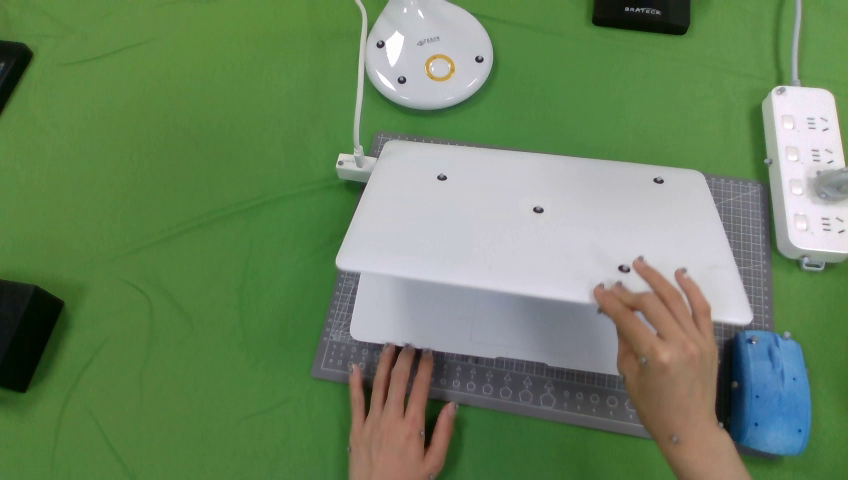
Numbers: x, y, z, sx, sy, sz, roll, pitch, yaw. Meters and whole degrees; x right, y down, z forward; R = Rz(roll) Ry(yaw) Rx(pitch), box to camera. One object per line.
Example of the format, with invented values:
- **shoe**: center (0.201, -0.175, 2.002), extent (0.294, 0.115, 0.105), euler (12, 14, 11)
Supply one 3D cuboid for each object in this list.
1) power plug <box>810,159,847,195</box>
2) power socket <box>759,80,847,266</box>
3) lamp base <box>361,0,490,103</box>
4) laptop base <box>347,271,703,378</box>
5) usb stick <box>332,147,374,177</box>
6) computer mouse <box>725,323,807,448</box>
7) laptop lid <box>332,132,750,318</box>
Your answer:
- **power plug**: center (0.441, -0.059, 0.630), extent (0.072, 0.053, 0.035), euler (17, 67, 7)
- **power socket**: center (0.417, -0.082, 0.666), extent (0.072, 0.033, 0.225), euler (7, 67, 3)
- **lamp base**: center (-0.008, -0.278, 0.687), extent (0.161, 0.181, 0.177), euler (-28, 65, -10)
- **laptop base**: center (0.111, 0.011, 0.645), extent (0.354, 0.023, 0.234), euler (6, 70, 5)
- **usb stick**: center (-0.071, -0.086, 0.678), extent (0.059, 0.027, 0.021), euler (9, 62, 4)
- **computer mouse**: center (0.321, 0.134, 0.570), extent (0.062, 0.041, 0.116), euler (11, 64, 9)
- **laptop lid**: center (0.109, -0.031, 0.589), extent (0.356, 0.013, 0.239), euler (8, 40, 6)
